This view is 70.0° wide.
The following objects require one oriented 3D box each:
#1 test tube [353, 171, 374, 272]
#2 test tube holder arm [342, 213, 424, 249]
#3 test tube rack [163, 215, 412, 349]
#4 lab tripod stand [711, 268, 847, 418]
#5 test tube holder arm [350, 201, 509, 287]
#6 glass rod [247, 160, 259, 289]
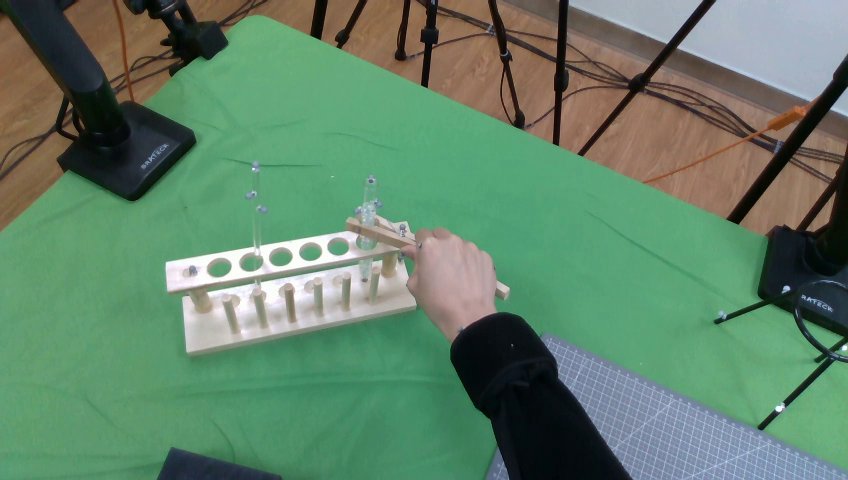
[{"bbox_3d":[-0.063,-0.013,0.621,0.017,0.151,0.017,4,51,-5],"label":"test tube"},{"bbox_3d":[-0.040,-0.009,0.601,0.087,0.015,0.010,16,58,12],"label":"test tube holder arm"},{"bbox_3d":[-0.134,0.043,0.637,0.243,0.086,0.066,-10,60,-14],"label":"test tube rack"},{"bbox_3d":[0.392,0.103,0.640,0.148,0.132,0.147,4,59,-6],"label":"lab tripod stand"},{"bbox_3d":[0.002,0.002,0.592,0.177,0.015,0.013,25,61,17],"label":"test tube holder arm"},{"bbox_3d":[-0.165,-0.003,0.583,0.008,0.201,0.008,7,50,-8],"label":"glass rod"}]
